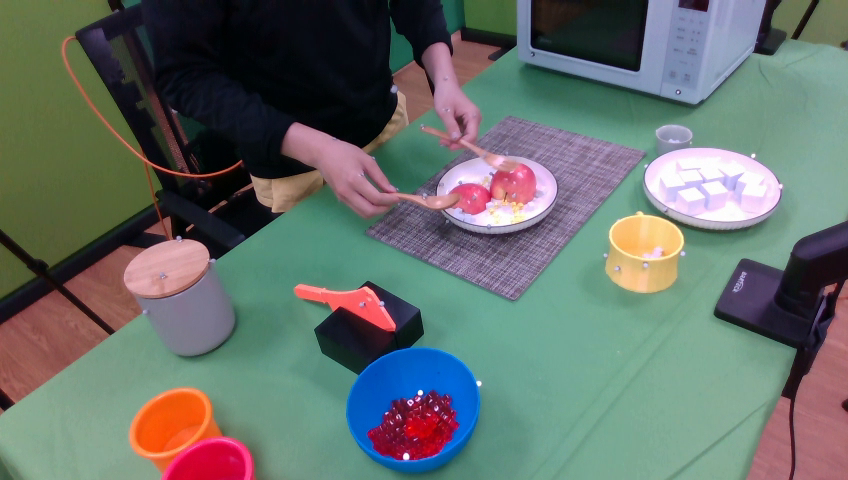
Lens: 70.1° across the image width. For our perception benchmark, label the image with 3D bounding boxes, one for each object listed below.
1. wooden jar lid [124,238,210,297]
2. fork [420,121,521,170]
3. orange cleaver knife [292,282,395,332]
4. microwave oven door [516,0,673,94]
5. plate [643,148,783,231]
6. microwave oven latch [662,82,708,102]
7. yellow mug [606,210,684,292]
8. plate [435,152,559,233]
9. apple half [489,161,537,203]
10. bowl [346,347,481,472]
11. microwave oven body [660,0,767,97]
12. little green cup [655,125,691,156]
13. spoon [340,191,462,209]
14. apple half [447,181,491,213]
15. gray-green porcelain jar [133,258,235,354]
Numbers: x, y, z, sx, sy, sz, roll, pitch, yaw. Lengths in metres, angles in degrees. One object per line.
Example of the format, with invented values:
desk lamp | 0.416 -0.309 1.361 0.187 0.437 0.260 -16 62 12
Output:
wooden jar lid | -0.335 0.038 0.794 0.108 0.021 0.108 -2 40 2
fork | 0.071 -0.159 0.990 0.206 0.019 0.028 30 86 28
orange cleaver knife | -0.116 0.091 0.835 0.209 0.077 0.012 2 32 48
microwave oven door | 0.344 -0.458 1.256 0.353 0.245 0.039 26 52 33
plate | 0.464 -0.080 0.986 0.207 0.039 0.206 -4 41 4
microwave oven latch | 0.518 -0.298 1.203 0.078 0.029 0.030 28 52 35
yellow mug | 0.318 0.007 0.883 0.100 0.064 0.130 0 41 8
plate | 0.124 -0.078 1.026 0.209 0.038 0.208 -4 40 4
apple half | 0.154 -0.106 1.030 0.080 0.053 0.075 21 46 31
bowl | -0.008 0.205 0.691 0.151 0.077 0.150 -4 40 4
microwave oven body | 0.474 -0.517 1.314 0.438 0.261 0.327 26 52 34
little green cup | 0.450 -0.177 1.099 0.061 0.039 0.061 -5 40 4
spoon | -0.038 -0.064 0.891 0.193 0.022 0.041 6 38 18
apple half | 0.077 -0.083 1.029 0.081 0.033 0.081 -1 41 2
gray-green porcelain jar | -0.327 0.086 0.836 0.106 0.127 0.105 -4 41 4
